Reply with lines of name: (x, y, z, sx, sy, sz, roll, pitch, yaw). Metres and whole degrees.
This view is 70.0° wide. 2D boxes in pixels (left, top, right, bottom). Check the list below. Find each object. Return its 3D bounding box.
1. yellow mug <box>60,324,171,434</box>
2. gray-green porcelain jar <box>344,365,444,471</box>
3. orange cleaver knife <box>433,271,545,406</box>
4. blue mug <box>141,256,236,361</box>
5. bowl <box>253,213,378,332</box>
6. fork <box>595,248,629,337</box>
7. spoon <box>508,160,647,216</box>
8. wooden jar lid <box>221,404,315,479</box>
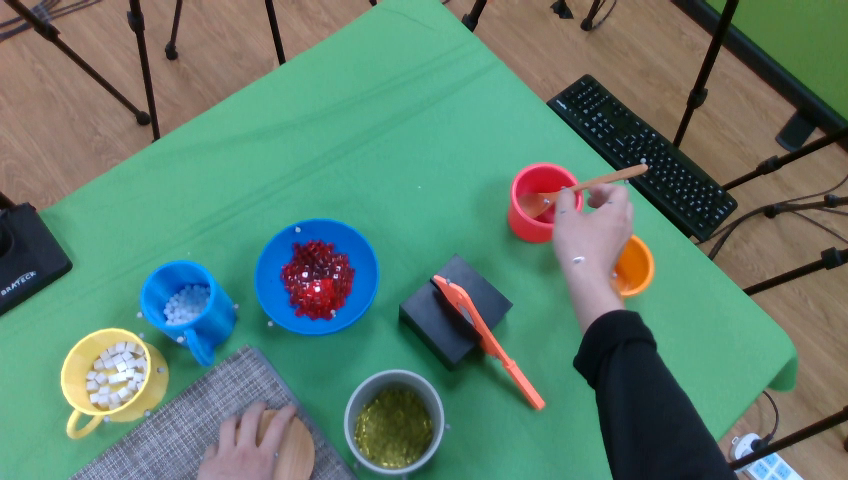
yellow mug: (-0.369, 0.168, 0.711, 0.100, 0.064, 0.130, 27, 70, 7)
gray-green porcelain jar: (-0.035, 0.206, 0.688, 0.106, 0.127, 0.105, 2, 68, -4)
orange cleaver knife: (0.080, 0.122, 0.753, 0.012, 0.077, 0.212, -40, 106, -16)
blue mug: (-0.275, 0.090, 0.728, 0.082, 0.106, 0.115, -18, 71, -11)
bowl: (-0.132, 0.051, 0.769, 0.151, 0.077, 0.150, 1, 69, -3)
fork: (0.235, 0.060, 0.753, 0.028, 0.019, 0.206, 22, 24, -1)
spoon: (0.199, -0.071, 0.805, 0.193, 0.022, 0.041, -19, 56, 37)
wooden jar lid: (-0.182, 0.249, 0.714, 0.108, 0.021, 0.107, 2, 69, -4)
